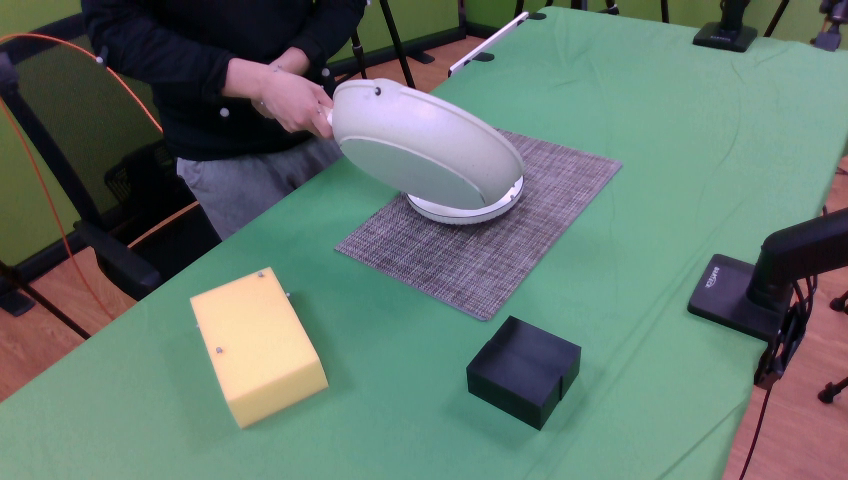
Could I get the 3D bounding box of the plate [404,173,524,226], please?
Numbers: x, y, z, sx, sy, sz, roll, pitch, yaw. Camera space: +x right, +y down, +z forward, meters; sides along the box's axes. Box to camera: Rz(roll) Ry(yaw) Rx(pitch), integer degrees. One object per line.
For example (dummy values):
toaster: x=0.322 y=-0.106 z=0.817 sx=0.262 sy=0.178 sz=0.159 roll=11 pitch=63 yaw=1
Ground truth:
plate: x=0.069 y=-0.089 z=1.043 sx=0.207 sy=0.039 sz=0.206 roll=-4 pitch=40 yaw=4

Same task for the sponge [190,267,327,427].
sponge: x=-0.226 y=0.135 z=0.814 sx=0.119 sy=0.061 sz=0.205 roll=-23 pitch=43 yaw=-19

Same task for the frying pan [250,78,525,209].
frying pan: x=-0.087 y=-0.164 z=0.910 sx=0.484 sy=0.309 sz=0.102 roll=27 pitch=83 yaw=27
